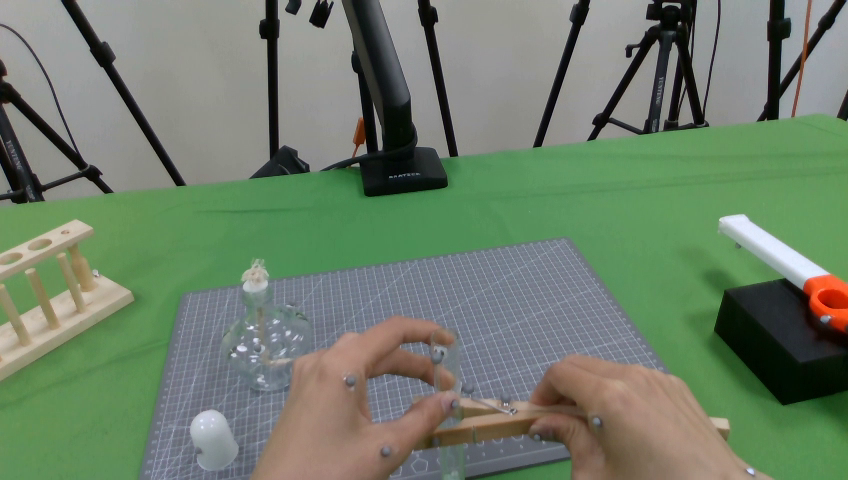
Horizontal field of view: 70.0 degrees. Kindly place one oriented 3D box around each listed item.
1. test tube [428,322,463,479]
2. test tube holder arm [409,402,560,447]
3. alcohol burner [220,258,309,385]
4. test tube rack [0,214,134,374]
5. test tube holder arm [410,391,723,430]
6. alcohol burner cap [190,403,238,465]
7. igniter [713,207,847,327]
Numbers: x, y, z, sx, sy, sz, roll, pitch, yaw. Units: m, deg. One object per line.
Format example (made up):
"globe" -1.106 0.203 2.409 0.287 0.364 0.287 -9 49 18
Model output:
"test tube" 0.014 0.109 0.363 0.017 0.151 0.017 -3 35 2
"test tube holder arm" 0.036 0.106 0.353 0.088 0.015 0.010 -9 38 -5
"alcohol burner" -0.142 0.068 0.532 0.078 0.120 0.077 -2 32 1
"test tube rack" -0.415 0.072 0.575 0.066 0.086 0.242 19 39 30
"test tube holder arm" 0.080 0.100 0.355 0.178 0.015 0.013 0 39 7
"alcohol burner cap" -0.168 0.149 0.476 0.034 0.048 0.033 -2 33 1
"igniter" 0.354 0.038 0.539 0.057 0.025 0.273 -10 31 -8
